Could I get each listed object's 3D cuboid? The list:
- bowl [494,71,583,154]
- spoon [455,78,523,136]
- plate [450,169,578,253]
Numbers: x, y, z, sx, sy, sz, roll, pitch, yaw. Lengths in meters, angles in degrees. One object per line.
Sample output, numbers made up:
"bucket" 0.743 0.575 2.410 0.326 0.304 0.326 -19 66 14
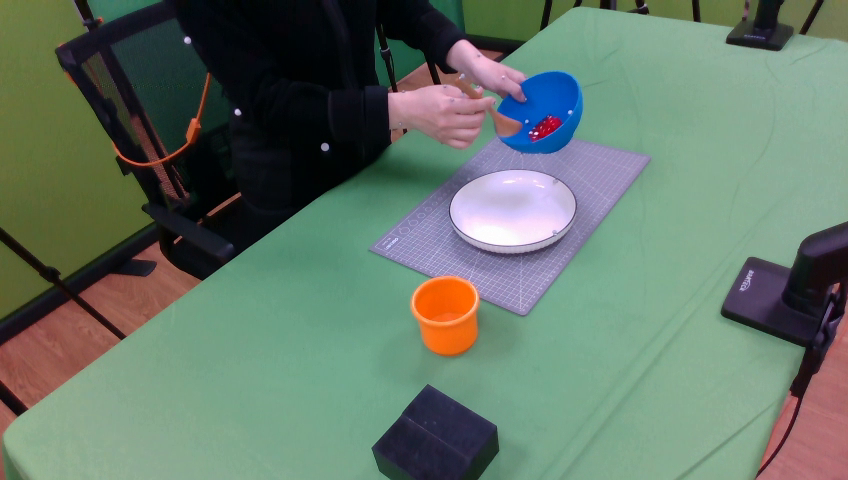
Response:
"bowl" 0.200 -0.195 0.998 0.150 0.077 0.150 -20 50 26
"spoon" 0.093 -0.191 0.877 0.041 0.195 0.021 -23 63 27
"plate" 0.147 -0.044 0.994 0.209 0.038 0.208 -5 40 5
